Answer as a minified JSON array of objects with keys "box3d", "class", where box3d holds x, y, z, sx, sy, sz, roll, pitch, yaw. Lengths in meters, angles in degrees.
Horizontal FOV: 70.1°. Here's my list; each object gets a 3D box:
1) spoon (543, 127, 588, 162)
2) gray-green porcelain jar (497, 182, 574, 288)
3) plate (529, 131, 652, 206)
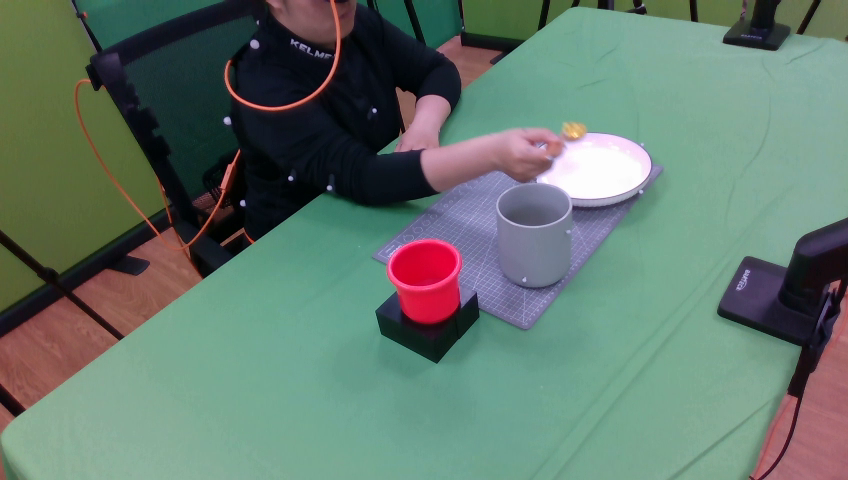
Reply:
[{"box3d":[0.206,-0.144,0.900,0.041,0.021,0.194,8,21,26],"class":"spoon"},{"box3d":[0.161,-0.003,0.869,0.106,0.127,0.105,-5,40,5],"class":"gray-green porcelain jar"},{"box3d":[0.287,-0.121,1.056,0.207,0.039,0.206,-5,40,5],"class":"plate"}]
